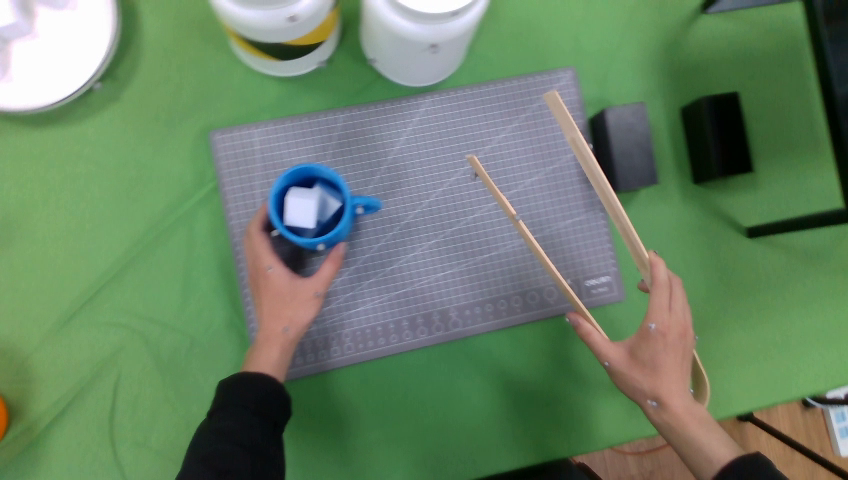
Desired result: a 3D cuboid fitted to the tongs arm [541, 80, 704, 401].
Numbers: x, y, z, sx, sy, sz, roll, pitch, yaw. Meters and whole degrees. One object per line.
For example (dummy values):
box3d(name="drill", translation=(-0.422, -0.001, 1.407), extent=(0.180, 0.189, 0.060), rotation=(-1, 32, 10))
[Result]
box3d(name="tongs arm", translation=(0.212, 0.010, 0.630), extent=(0.028, 0.027, 0.389), rotation=(-35, 106, -15))

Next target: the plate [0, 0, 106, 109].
box3d(name="plate", translation=(-0.457, -0.244, 0.669), extent=(0.208, 0.039, 0.207), rotation=(0, 87, -7))

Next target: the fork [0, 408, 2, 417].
box3d(name="fork", translation=(-0.530, 0.179, 0.582), extent=(0.209, 0.018, 0.028), rotation=(10, 82, -49))

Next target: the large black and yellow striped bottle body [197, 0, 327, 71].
box3d(name="large black and yellow striped bottle body", translation=(-0.171, -0.267, 0.630), extent=(0.131, 0.184, 0.130), rotation=(0, 86, -6))

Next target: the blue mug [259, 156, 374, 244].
box3d(name="blue mug", translation=(-0.113, -0.042, 0.662), extent=(0.117, 0.106, 0.082), rotation=(-5, 87, -7))

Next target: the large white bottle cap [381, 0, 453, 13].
box3d(name="large white bottle cap", translation=(-0.008, -0.271, 0.564), extent=(0.115, 0.018, 0.114), rotation=(1, 86, -7))

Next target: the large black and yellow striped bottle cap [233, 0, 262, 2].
box3d(name="large black and yellow striped bottle cap", translation=(-0.163, -0.275, 0.548), extent=(0.115, 0.019, 0.115), rotation=(0, 88, -8))

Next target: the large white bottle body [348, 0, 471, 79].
box3d(name="large white bottle body", translation=(-0.017, -0.264, 0.648), extent=(0.131, 0.184, 0.130), rotation=(0, 86, -6))

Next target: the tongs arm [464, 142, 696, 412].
box3d(name="tongs arm", translation=(0.169, 0.045, 0.622), extent=(0.051, 0.026, 0.387), rotation=(-40, 107, -10))
